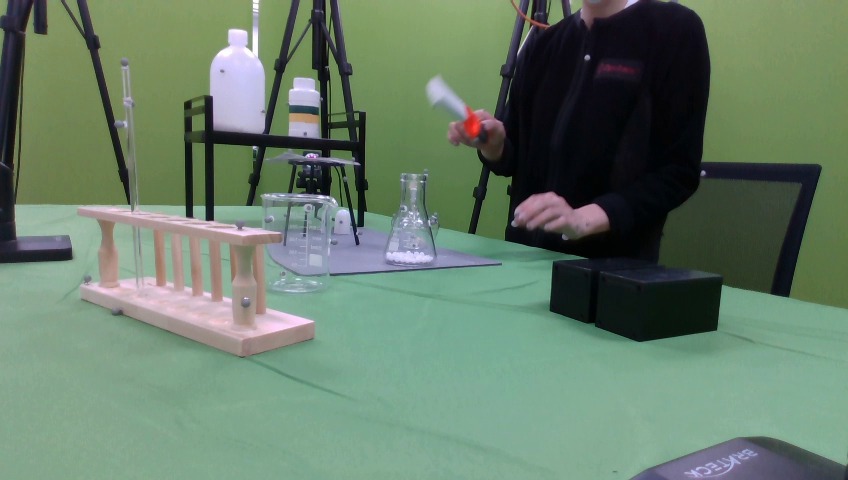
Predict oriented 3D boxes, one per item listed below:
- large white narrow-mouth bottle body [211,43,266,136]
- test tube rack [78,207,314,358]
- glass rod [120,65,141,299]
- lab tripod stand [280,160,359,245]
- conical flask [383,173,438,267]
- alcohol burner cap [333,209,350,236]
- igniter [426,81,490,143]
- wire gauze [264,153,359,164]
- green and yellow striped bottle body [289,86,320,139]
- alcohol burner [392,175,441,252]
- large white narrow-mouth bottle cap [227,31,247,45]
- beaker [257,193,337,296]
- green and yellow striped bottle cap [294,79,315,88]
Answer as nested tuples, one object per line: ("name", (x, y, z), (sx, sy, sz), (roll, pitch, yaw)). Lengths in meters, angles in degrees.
("large white narrow-mouth bottle body", (-0.361, -0.303, 1.176), (0.102, 0.194, 0.102), (1, 8, 0))
("test tube rack", (-0.197, 0.024, 0.500), (0.241, 0.085, 0.067), (8, 8, 37))
("glass rod", (-0.249, -0.047, 0.513), (0.008, 0.199, 0.008), (-1, 4, 0))
("lab tripod stand", (-0.176, -0.062, 0.973), (0.148, 0.131, 0.148), (1, 7, 0))
("conical flask", (-0.016, -0.028, 0.808), (0.075, 0.122, 0.075), (2, 8, 0))
("alcohol burner cap", (-0.151, -0.033, 1.116), (0.034, 0.048, 0.034), (4, 7, 0))
("igniter", (0.061, -0.196, 0.952), (0.025, 0.057, 0.277), (-20, -9, 18))
("wire gauze", (-0.181, -0.130, 0.969), (0.126, 0.011, 0.121), (-1, 6, -27))
("green and yellow striped bottle body", (-0.250, -0.272, 1.261), (0.063, 0.119, 0.063), (3, 7, 0))
("alcohol burner", (-0.012, -0.041, 0.944), (0.078, 0.119, 0.078), (0, 7, 0))
("large white narrow-mouth bottle cap", (-0.361, -0.388, 1.165), (0.038, 0.024, 0.037), (1, 7, 0))
("beaker", (-0.130, 0.004, 0.628), (0.084, 0.100, 0.074), (5, 8, 15))
("green and yellow striped bottle cap", (-0.248, -0.323, 1.256), (0.045, 0.020, 0.045), (3, 9, 0))
